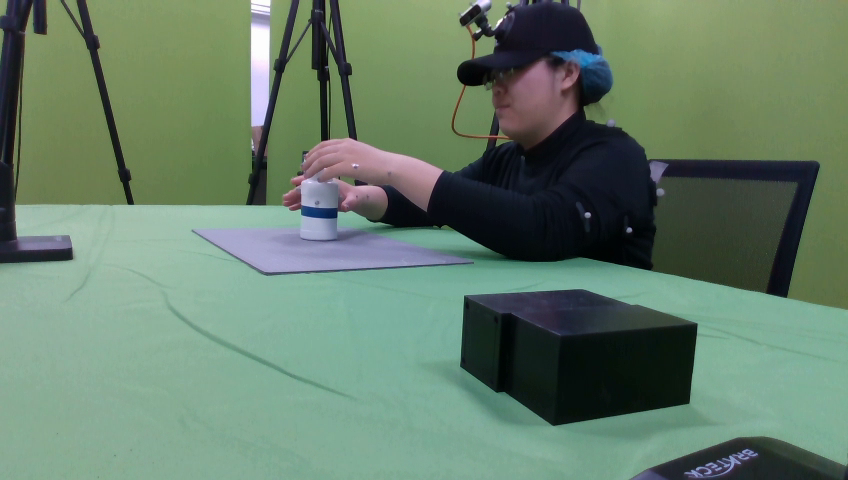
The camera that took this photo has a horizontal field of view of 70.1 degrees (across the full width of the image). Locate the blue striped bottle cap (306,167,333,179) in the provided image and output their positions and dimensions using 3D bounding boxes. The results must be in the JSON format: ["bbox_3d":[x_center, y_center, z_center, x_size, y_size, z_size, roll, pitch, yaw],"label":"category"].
[{"bbox_3d":[-0.174,-0.112,1.011,0.044,0.020,0.044,4,6,0],"label":"blue striped bottle cap"}]

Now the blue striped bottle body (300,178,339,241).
[{"bbox_3d":[-0.176,-0.062,1.018,0.063,0.120,0.063,3,7,0],"label":"blue striped bottle body"}]
